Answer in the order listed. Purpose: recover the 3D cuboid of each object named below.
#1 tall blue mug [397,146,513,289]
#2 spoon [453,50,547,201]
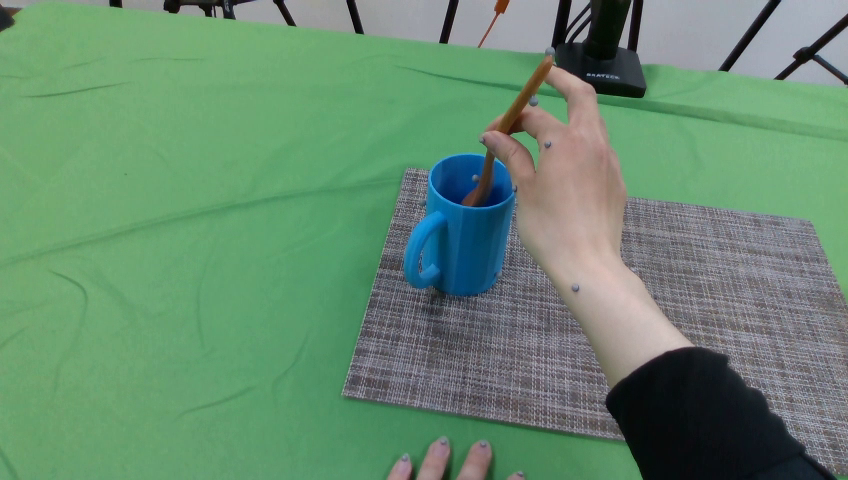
[{"bbox_3d":[0.028,-0.009,0.535,0.077,0.109,0.106,15,46,8],"label":"tall blue mug"},{"bbox_3d":[0.052,-0.076,0.467,0.021,0.195,0.041,26,61,3],"label":"spoon"}]
